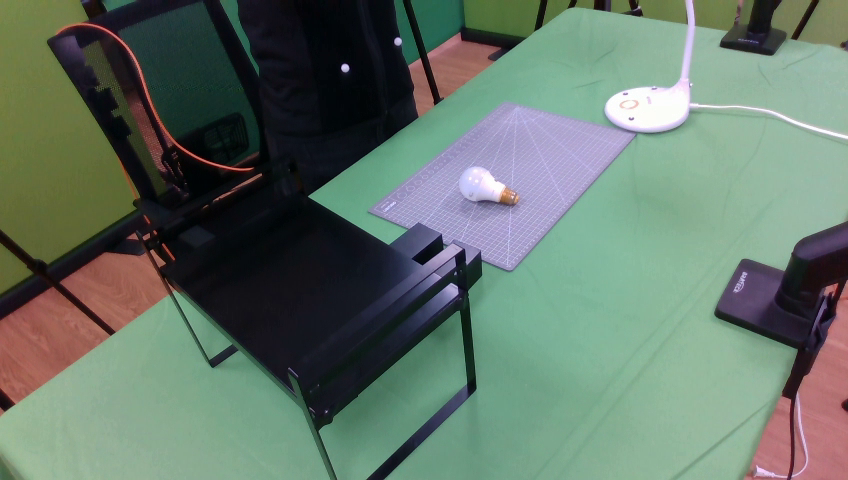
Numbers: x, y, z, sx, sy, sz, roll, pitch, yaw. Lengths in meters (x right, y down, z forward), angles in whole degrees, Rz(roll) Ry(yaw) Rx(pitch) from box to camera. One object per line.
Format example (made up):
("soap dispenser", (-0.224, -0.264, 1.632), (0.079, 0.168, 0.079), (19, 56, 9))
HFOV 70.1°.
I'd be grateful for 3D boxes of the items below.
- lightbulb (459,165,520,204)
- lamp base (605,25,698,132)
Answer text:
("lightbulb", (0.113, -0.090, 1.037), (0.107, 0.059, 0.059), (22, 47, 10))
("lamp base", (0.449, -0.322, 1.162), (0.179, 0.181, 0.159), (-6, 41, -2))
